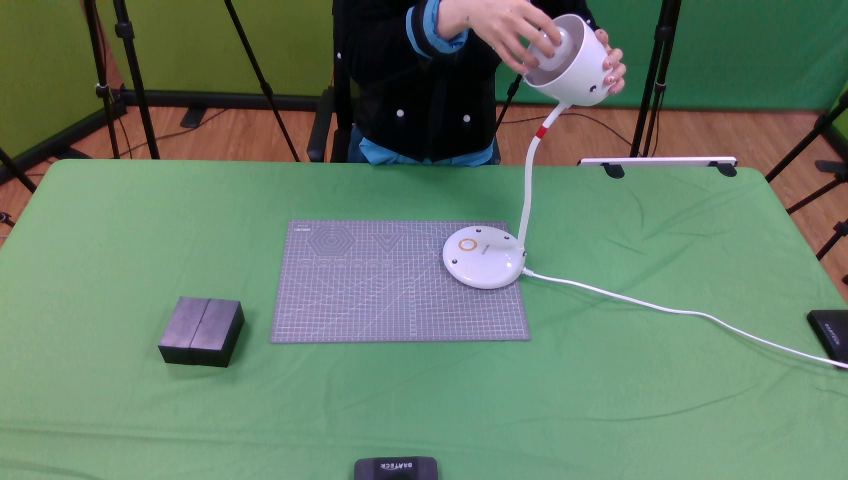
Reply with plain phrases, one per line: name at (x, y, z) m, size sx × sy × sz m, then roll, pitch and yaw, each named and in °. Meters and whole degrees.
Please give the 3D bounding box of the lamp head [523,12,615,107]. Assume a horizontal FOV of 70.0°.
lamp head at (0.219, -0.247, 0.885) m, size 0.112 × 0.123 × 0.111 m, roll -25°, pitch 47°, yaw 30°

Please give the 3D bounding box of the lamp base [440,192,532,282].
lamp base at (0.127, -0.032, 1.123) m, size 0.179 × 0.181 × 0.159 m, roll 11°, pitch 47°, yaw 2°

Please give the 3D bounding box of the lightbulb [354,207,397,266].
lightbulb at (-0.078, -0.005, 1.026) m, size 0.059 × 0.059 × 0.108 m, roll -30°, pitch 97°, yaw -29°
